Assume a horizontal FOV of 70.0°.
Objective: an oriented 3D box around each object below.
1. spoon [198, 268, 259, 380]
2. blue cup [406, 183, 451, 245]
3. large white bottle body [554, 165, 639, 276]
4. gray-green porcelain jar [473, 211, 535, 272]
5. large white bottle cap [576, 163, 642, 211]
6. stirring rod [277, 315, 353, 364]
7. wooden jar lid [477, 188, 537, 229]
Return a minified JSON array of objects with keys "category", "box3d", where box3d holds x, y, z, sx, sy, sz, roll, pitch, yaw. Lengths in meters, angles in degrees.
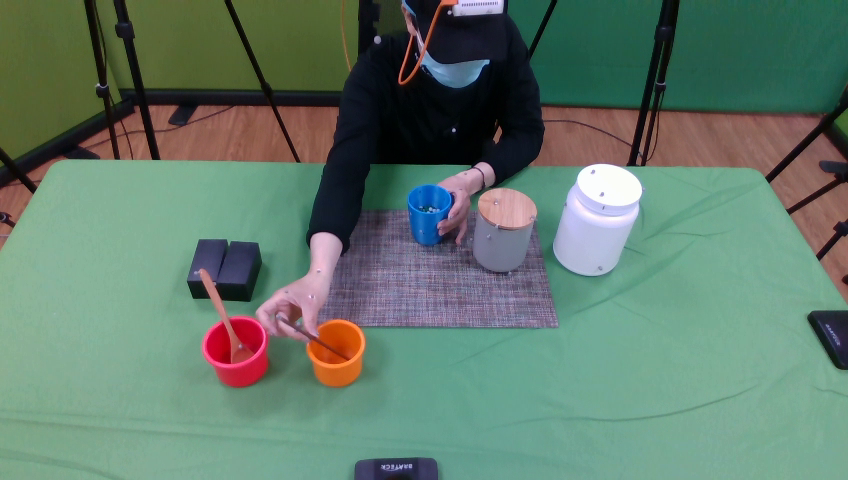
[{"category":"spoon","box3d":[-0.312,0.133,0.962,0.041,0.021,0.194,-24,96,-21]},{"category":"blue cup","box3d":[0.009,-0.045,1.180,0.092,0.101,0.092,0,47,0]},{"category":"large white bottle body","box3d":[0.326,-0.037,1.141,0.131,0.185,0.130,2,46,-2]},{"category":"gray-green porcelain jar","box3d":[0.147,-0.010,1.139,0.106,0.127,0.105,2,46,-2]},{"category":"large white bottle cap","box3d":[0.330,-0.096,1.080,0.115,0.018,0.114,2,46,-2]},{"category":"stirring rod","box3d":[-0.165,0.156,0.936,0.014,0.177,0.006,24,75,44]},{"category":"wooden jar lid","box3d":[0.149,-0.054,1.094,0.108,0.021,0.107,4,45,-4]}]
